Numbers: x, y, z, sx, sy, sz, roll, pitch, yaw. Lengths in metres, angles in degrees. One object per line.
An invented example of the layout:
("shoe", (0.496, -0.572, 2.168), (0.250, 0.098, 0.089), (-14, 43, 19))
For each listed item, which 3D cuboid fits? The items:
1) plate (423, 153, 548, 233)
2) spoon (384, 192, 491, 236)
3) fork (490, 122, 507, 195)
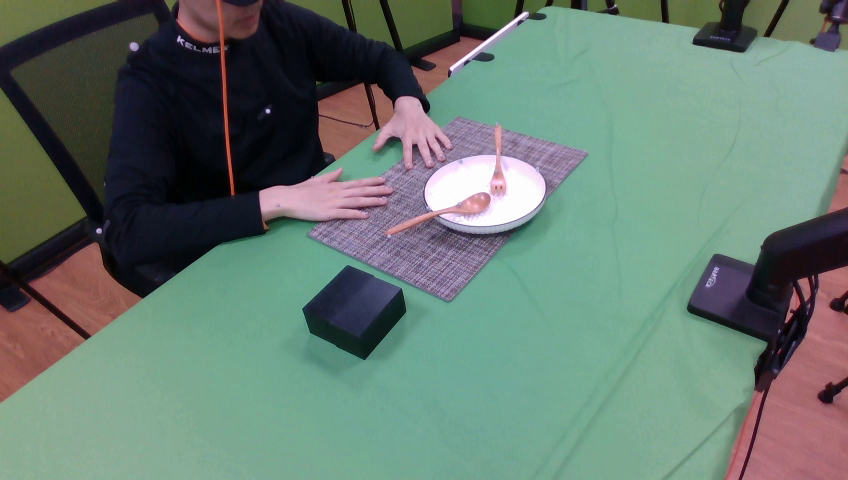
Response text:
("plate", (0.104, -0.076, 1.024), (0.209, 0.038, 0.208), (-4, 40, 4))
("spoon", (0.023, -0.042, 0.970), (0.195, 0.022, 0.041), (-17, 45, -23))
("fork", (0.133, -0.149, 1.082), (0.028, 0.019, 0.206), (-1, 49, 7))
